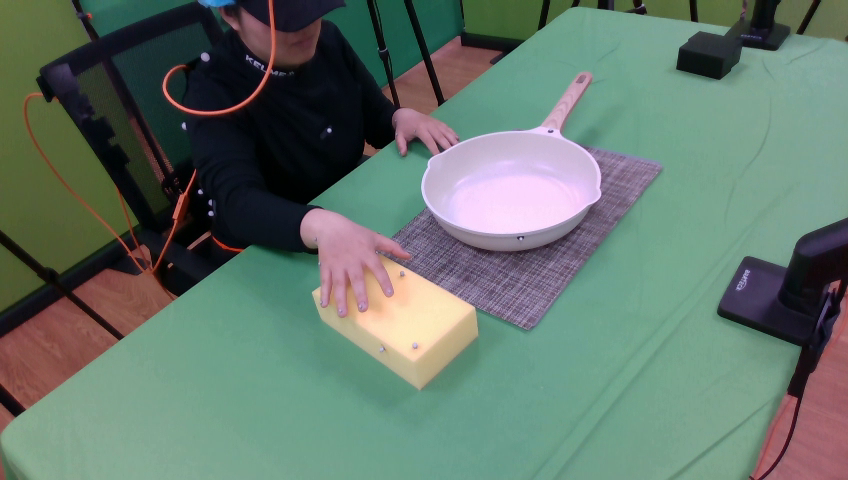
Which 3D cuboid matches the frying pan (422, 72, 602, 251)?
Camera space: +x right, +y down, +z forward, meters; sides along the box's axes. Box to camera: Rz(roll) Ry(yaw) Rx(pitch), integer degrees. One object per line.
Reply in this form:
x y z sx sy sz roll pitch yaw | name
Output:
0.199 -0.155 1.062 0.304 0.103 0.488 19 56 28 | frying pan

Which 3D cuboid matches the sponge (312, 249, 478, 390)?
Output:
-0.042 0.103 0.843 0.205 0.061 0.118 27 52 35 | sponge
